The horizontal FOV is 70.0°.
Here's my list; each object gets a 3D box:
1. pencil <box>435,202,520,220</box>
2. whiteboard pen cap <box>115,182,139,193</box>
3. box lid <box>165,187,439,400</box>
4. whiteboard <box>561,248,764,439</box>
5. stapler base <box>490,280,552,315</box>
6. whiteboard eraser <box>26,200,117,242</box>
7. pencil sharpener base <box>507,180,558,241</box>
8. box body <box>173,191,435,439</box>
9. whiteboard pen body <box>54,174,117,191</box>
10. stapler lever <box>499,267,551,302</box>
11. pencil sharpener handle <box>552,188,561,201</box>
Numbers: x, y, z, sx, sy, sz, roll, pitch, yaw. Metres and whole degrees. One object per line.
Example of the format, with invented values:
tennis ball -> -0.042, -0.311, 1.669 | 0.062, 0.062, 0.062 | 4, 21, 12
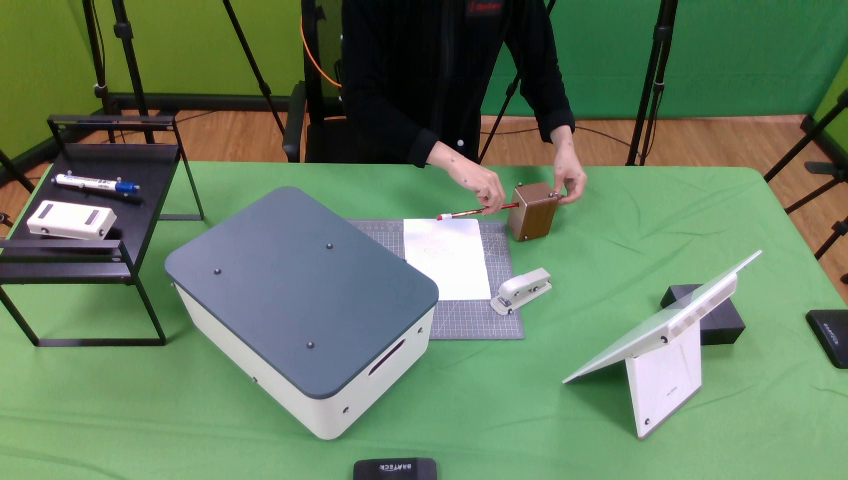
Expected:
pencil -> 0.113, -0.057, 1.159 | 0.194, 0.012, 0.012 | -10, 48, -18
whiteboard pen cap -> -0.483, -0.086, 0.984 | 0.033, 0.018, 0.018 | 7, 46, 10
box lid -> -0.186, 0.060, 0.925 | 0.370, 0.015, 0.263 | 32, 53, 25
whiteboard -> 0.386, 0.176, 0.905 | 0.217, 0.306, 0.143 | -26, 72, -27
stapler base -> 0.181, 0.094, 1.118 | 0.130, 0.024, 0.041 | -24, 57, -29
whiteboard eraser -> -0.532, -0.026, 0.919 | 0.113, 0.042, 0.055 | 7, 45, 3
pencil sharpener base -> 0.218, -0.059, 1.212 | 0.077, 0.107, 0.061 | -12, 48, -16
box body -> -0.191, 0.110, 0.979 | 0.362, 0.161, 0.254 | 33, 53, 24
whiteboard pen body -> -0.541, -0.093, 0.993 | 0.140, 0.017, 0.017 | 7, 46, 9
stapler lever -> 0.185, 0.076, 1.101 | 0.118, 0.040, 0.026 | -25, 57, -29
pencil sharpener handle -> 0.263, -0.088, 1.221 | 0.031, 0.067, 0.036 | -12, 89, -16
